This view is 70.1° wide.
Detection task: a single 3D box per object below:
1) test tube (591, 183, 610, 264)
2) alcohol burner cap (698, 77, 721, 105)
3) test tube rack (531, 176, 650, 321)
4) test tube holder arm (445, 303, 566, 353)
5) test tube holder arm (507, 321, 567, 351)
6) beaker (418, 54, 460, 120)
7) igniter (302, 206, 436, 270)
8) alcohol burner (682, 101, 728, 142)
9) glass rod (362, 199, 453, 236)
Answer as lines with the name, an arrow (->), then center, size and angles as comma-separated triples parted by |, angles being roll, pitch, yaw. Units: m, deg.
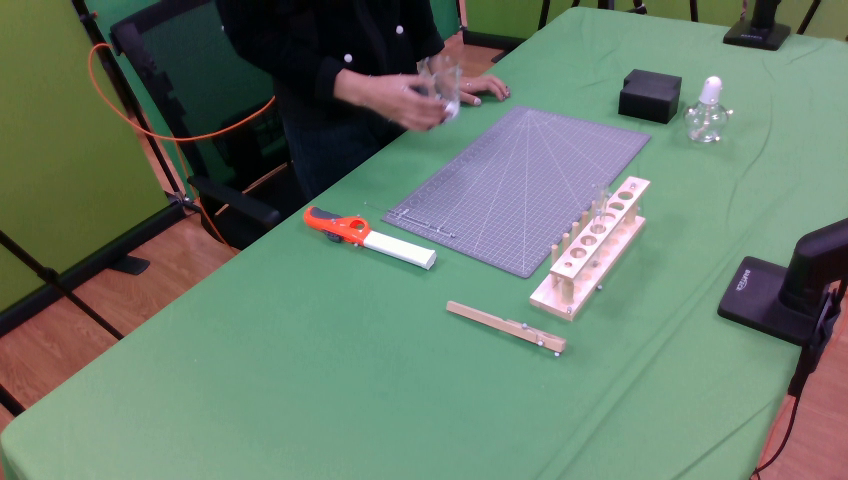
test tube -> 0.242, -0.019, 0.832 | 0.017, 0.151, 0.017 | -5, 46, 6
alcohol burner cap -> 0.509, -0.266, 1.072 | 0.034, 0.048, 0.033 | -4, 48, 5
test tube rack -> 0.246, 0.002, 0.884 | 0.066, 0.085, 0.243 | 22, 49, 32
test tube holder arm -> 0.107, 0.117, 0.824 | 0.177, 0.015, 0.013 | 16, 11, 27
test tube holder arm -> 0.148, 0.128, 0.808 | 0.087, 0.015, 0.010 | 16, 11, 28
beaker -> 0.028, -0.272, 1.085 | 0.073, 0.100, 0.084 | 7, 38, 17
igniter -> -0.101, -0.007, 1.004 | 0.274, 0.025, 0.057 | 19, 58, 29
alcohol burner -> 0.513, -0.239, 1.097 | 0.078, 0.119, 0.077 | -4, 40, 4
glass rod -> -0.032, -0.041, 1.041 | 0.198, 0.008, 0.008 | 22, 50, 31
